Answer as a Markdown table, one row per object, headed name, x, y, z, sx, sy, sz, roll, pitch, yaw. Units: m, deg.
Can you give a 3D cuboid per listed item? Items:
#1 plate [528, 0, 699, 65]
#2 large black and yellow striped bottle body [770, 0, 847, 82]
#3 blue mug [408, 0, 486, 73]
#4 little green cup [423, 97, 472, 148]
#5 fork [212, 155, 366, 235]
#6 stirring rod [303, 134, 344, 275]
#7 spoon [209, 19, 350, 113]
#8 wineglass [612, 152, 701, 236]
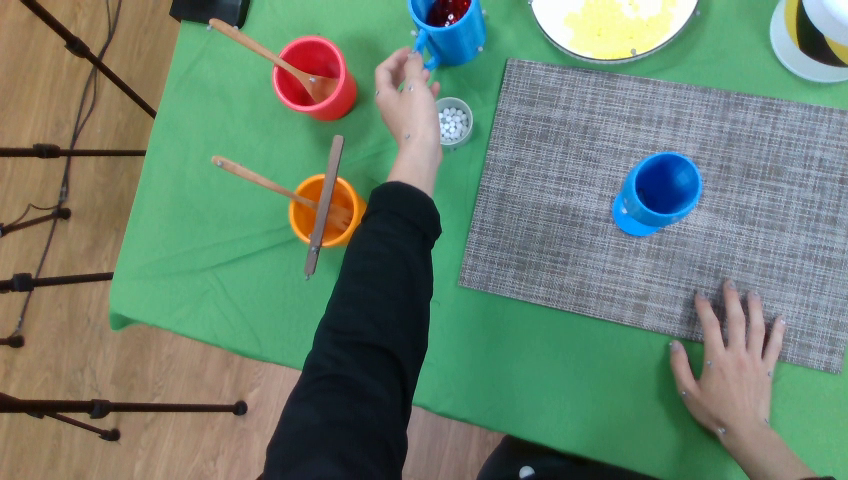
| name | x | y | z | sx | sy | sz | roll | pitch | yaw |
| --- | --- | --- | --- | --- | --- | --- | --- | --- | --- |
| plate | 0.232 | -0.315 | 0.752 | 0.209 | 0.038 | 0.208 | -1 | 86 | 11 |
| large black and yellow striped bottle body | 0.459 | -0.256 | 0.629 | 0.130 | 0.184 | 0.130 | -1 | 85 | 11 |
| blue mug | 0.022 | -0.262 | 0.753 | 0.082 | 0.106 | 0.116 | 33 | 92 | 12 |
| little green cup | 0.033 | -0.147 | 0.776 | 0.061 | 0.039 | 0.061 | -1 | 86 | 12 |
| fork | -0.163 | -0.055 | 0.749 | 0.209 | 0.018 | 0.028 | 26 | 97 | -32 |
| stirring rod | -0.123 | -0.043 | 0.738 | 0.014 | 0.006 | 0.176 | 12 | 88 | 12 |
| spoon | -0.179 | -0.222 | 0.768 | 0.195 | 0.021 | 0.041 | 29 | 93 | -32 |
| wineglass | 0.245 | -0.045 | 0.655 | 0.073 | 0.173 | 0.073 | -1 | 85 | 11 |
